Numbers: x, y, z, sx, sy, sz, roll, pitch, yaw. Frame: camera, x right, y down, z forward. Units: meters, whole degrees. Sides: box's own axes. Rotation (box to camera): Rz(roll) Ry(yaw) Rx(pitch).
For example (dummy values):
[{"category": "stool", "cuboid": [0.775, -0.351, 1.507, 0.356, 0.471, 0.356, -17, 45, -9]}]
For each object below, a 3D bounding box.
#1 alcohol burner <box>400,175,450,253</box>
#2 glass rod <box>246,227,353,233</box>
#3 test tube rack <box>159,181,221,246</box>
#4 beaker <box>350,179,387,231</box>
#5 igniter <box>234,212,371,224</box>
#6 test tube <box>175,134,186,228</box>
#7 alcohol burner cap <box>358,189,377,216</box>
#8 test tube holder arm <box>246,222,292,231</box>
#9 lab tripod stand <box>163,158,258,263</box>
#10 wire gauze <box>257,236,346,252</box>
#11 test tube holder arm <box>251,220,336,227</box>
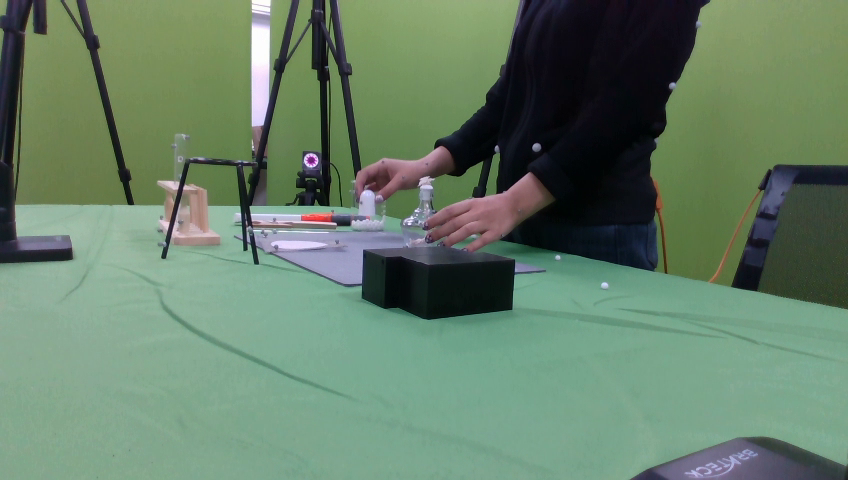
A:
[{"category": "alcohol burner", "cuboid": [0.003, -0.040, 0.933, 0.078, 0.119, 0.078, 3, 9, 0]}, {"category": "glass rod", "cuboid": [-0.224, -0.017, 1.109, 0.201, 0.008, 0.008, 1, 7, -27]}, {"category": "test tube rack", "cuboid": [-0.395, -0.050, 1.010, 0.067, 0.085, 0.241, -2, 8, -28]}, {"category": "beaker", "cuboid": [-0.111, -0.070, 1.204, 0.074, 0.100, 0.084, 2, 9, 0]}, {"category": "igniter", "cuboid": [-0.246, -0.045, 1.248, 0.278, 0.025, 0.057, -1, -3, -25]}, {"category": "test tube", "cuboid": [-0.388, -0.094, 0.964, 0.017, 0.150, 0.017, 1, 2, 0]}, {"category": "alcohol burner cap", "cuboid": [-0.102, -0.066, 1.078, 0.034, 0.048, 0.034, -1, 5, 0]}, {"category": "test tube holder arm", "cuboid": [-0.291, -0.026, 1.130, 0.088, 0.015, 0.010, -1, 43, -30]}, {"category": "lab tripod stand", "cuboid": [-0.265, -0.041, 0.802, 0.148, 0.131, 0.148, 4, 7, 0]}, {"category": "wire gauze", "cuboid": [-0.189, 0.005, 0.931, 0.122, 0.011, 0.124, 1, 7, -21]}, {"category": "test tube holder arm", "cuboid": [-0.253, -0.031, 1.156, 0.179, 0.015, 0.013, -2, 43, -30]}]
